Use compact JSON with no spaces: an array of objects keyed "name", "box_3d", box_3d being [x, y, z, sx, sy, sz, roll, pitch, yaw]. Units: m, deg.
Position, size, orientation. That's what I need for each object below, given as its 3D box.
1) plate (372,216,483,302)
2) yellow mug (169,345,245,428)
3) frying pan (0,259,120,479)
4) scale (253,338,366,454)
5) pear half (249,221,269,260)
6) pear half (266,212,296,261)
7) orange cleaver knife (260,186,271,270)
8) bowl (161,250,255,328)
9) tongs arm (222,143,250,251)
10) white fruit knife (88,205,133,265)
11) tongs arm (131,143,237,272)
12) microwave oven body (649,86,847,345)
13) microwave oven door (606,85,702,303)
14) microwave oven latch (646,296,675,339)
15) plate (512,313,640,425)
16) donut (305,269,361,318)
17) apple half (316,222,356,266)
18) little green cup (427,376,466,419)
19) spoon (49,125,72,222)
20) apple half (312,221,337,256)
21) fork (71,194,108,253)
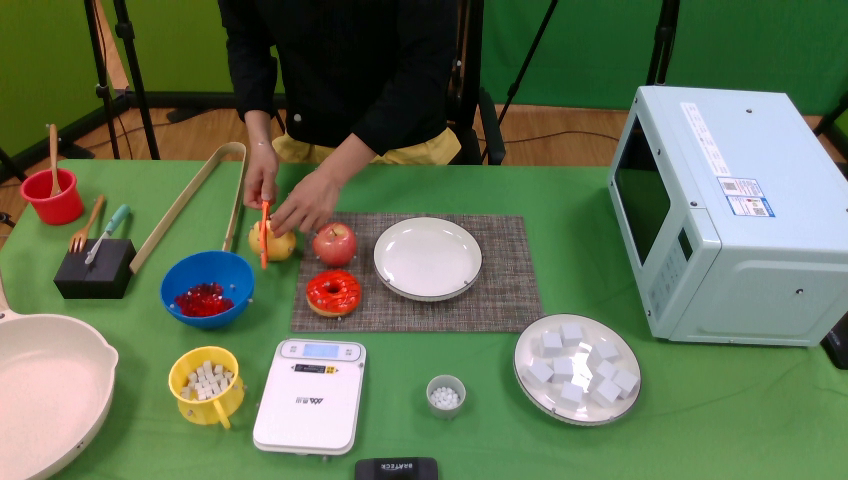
[{"name":"plate","box_3d":[0.006,0.038,1.145,0.209,0.038,0.208,2,46,-2]},{"name":"yellow mug","box_3d":[-0.322,0.230,0.922,0.100,0.064,0.130,-24,53,-25]},{"name":"frying pan","box_3d":[-0.647,0.164,0.936,0.307,0.103,0.485,-19,58,-22]},{"name":"scale","box_3d":[-0.175,0.236,0.951,0.149,0.032,0.199,5,45,0]},{"name":"pear half","box_3d":[-0.312,0.001,1.132,0.031,0.088,0.070,-17,52,-8]},{"name":"pear half","box_3d":[-0.269,-0.012,1.131,0.056,0.110,0.076,-9,51,-12]},{"name":"orange cleaver knife","box_3d":[-0.299,-0.028,1.143,0.012,0.077,0.210,-1,36,-10]},{"name":"bowl","box_3d":[-0.362,0.098,1.040,0.151,0.077,0.150,2,45,-2]},{"name":"tongs arm","box_3d":[-0.396,-0.073,1.232,0.051,0.026,0.382,-1,45,0]},{"name":"white fruit knife","box_3d":[-0.584,-0.013,1.129,0.016,0.027,0.206,-1,32,-4]},{"name":"tongs arm","box_3d":[-0.481,-0.079,1.234,0.028,0.028,0.385,7,45,12]},{"name":"microwave oven body","box_3d":[0.568,-0.053,1.118,0.326,0.261,0.439,2,45,-1]},{"name":"microwave oven door","box_3d":[0.423,-0.094,1.140,0.039,0.245,0.353,2,46,-1]},{"name":"microwave oven latch","box_3d":[0.412,0.134,1.061,0.030,0.029,0.078,4,45,1]},{"name":"plate","box_3d":[0.246,0.213,0.999,0.208,0.039,0.206,2,46,-2]},{"name":"donut","box_3d":[-0.161,0.095,1.075,0.099,0.048,0.098,3,45,-3]},{"name":"apple half","box_3d":[-0.156,0.015,1.132,0.053,0.075,0.080,28,48,18]},{"name":"little green cup","box_3d":[0.033,0.248,0.950,0.061,0.039,0.061,2,46,-2]},{"name":"spoon","box_3d":[-0.718,-0.131,1.189,0.041,0.021,0.193,-4,90,-6]},{"name":"apple half","box_3d":[-0.191,-0.001,1.144,0.032,0.081,0.081,27,50,17]},{"name":"fork","box_3d":[-0.634,-0.036,1.158,0.028,0.019,0.206,-8,31,-8]}]
